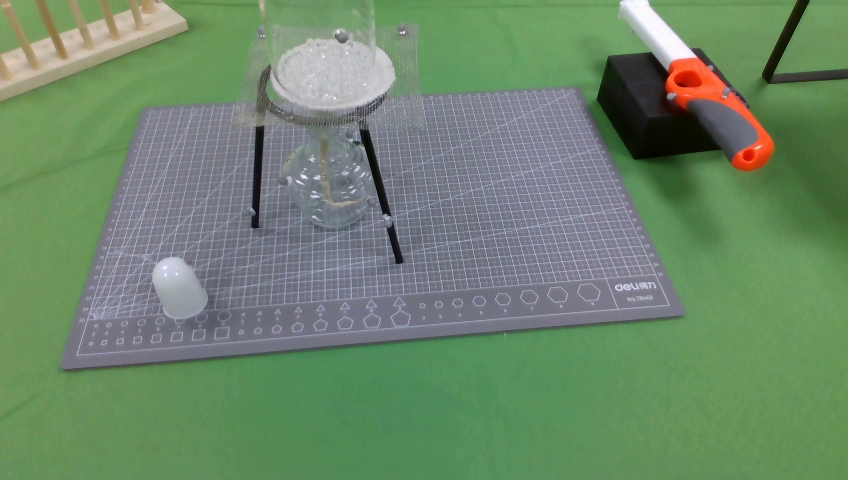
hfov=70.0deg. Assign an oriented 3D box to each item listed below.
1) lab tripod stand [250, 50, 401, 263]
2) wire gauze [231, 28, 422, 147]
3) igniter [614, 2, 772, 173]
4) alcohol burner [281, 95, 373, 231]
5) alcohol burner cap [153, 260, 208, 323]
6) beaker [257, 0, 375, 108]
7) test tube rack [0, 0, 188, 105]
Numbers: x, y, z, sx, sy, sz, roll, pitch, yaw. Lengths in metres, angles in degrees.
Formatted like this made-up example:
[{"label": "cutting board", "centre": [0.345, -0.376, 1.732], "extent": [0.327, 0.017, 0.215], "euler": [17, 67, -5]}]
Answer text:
[{"label": "lab tripod stand", "centre": [-0.068, -0.064, 0.468], "extent": [0.148, 0.132, 0.147], "euler": [2, 48, -2]}, {"label": "wire gauze", "centre": [-0.064, -0.113, 0.424], "extent": [0.125, 0.011, 0.120], "euler": [2, 52, -4]}, {"label": "igniter", "centre": [0.244, -0.155, 0.570], "extent": [0.057, 0.025, 0.273], "euler": [-8, 47, -5]}, {"label": "alcohol burner", "centre": [-0.077, -0.064, 0.481], "extent": [0.078, 0.120, 0.077], "euler": [0, 50, 0]}, {"label": "alcohol burner cap", "centre": [-0.179, 0.034, 0.439], "extent": [0.034, 0.048, 0.033], "euler": [2, 47, -2]}, {"label": "beaker", "centre": [-0.067, -0.140, 0.382], "extent": [0.074, 0.101, 0.083], "euler": [-11, 52, -11]}, {"label": "test tube rack", "centre": [-0.387, -0.228, 0.641], "extent": [0.242, 0.086, 0.066], "euler": [-34, 58, -28]}]
